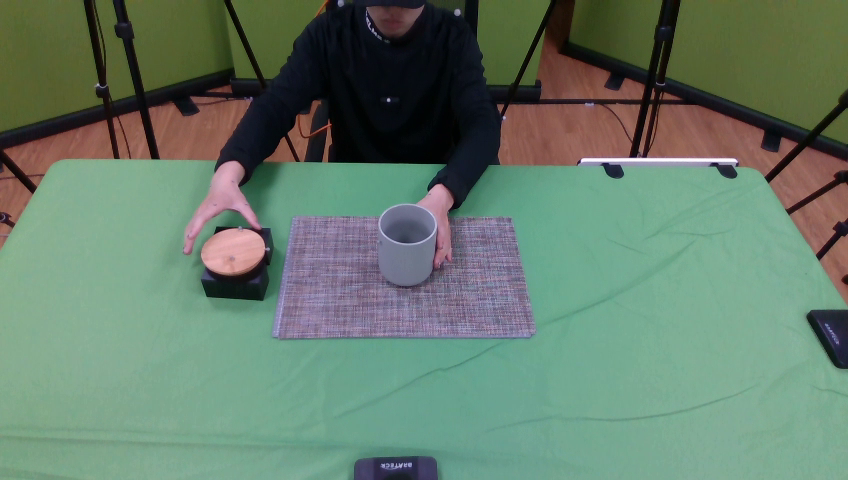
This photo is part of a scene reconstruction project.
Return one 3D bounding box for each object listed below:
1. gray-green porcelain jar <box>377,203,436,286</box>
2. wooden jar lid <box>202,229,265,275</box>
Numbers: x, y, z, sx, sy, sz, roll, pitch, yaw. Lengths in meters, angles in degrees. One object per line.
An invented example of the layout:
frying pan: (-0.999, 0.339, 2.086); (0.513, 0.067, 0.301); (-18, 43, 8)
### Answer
gray-green porcelain jar: (-0.033, 0.014, 1.106); (0.106, 0.127, 0.105); (2, 46, -2)
wooden jar lid: (-0.340, 0.023, 1.083); (0.108, 0.021, 0.107); (3, 45, -2)
